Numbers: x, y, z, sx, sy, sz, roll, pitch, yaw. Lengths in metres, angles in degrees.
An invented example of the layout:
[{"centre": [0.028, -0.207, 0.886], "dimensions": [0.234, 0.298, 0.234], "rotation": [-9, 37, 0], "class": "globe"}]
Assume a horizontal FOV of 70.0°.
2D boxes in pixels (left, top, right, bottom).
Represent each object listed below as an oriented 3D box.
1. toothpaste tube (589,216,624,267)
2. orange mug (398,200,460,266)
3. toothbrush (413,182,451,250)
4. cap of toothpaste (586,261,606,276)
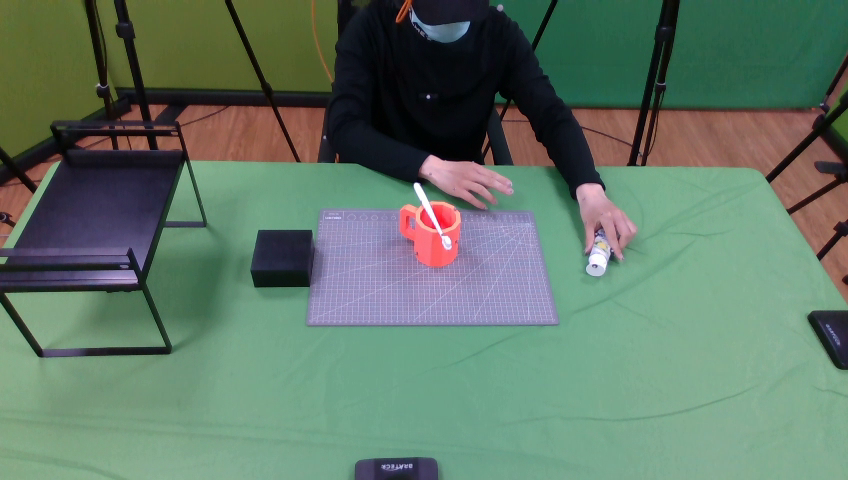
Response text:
[{"centre": [0.363, 0.005, 1.216], "dimensions": [0.055, 0.034, 0.164], "rotation": [24, 45, 9], "class": "toothpaste tube"}, {"centre": [0.007, -0.020, 1.161], "dimensions": [0.126, 0.101, 0.083], "rotation": [27, 50, 15], "class": "orange mug"}, {"centre": [0.013, -0.050, 1.118], "dimensions": [0.014, 0.017, 0.180], "rotation": [-15, 49, -13], "class": "toothbrush"}, {"centre": [0.330, 0.053, 1.159], "dimensions": [0.037, 0.037, 0.011], "rotation": [12, 48, 7], "class": "cap of toothpaste"}]
